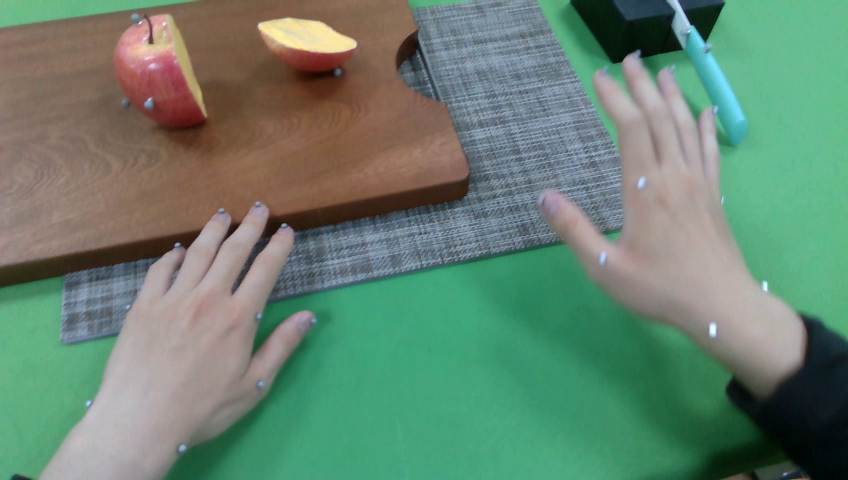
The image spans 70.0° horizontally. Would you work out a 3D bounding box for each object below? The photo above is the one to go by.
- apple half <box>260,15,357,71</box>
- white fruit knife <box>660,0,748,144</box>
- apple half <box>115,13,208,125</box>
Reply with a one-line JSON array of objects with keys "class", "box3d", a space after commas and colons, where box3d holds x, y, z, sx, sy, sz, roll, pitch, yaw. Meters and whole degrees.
[{"class": "apple half", "box3d": [-0.101, -0.162, 0.515, 0.081, 0.033, 0.080, 11, 36, -8]}, {"class": "white fruit knife", "box3d": [0.241, -0.183, 0.548, 0.016, 0.027, 0.206, -18, 74, -7]}, {"class": "apple half", "box3d": [-0.207, -0.128, 0.472, 0.053, 0.075, 0.080, -19, 64, -9]}]
